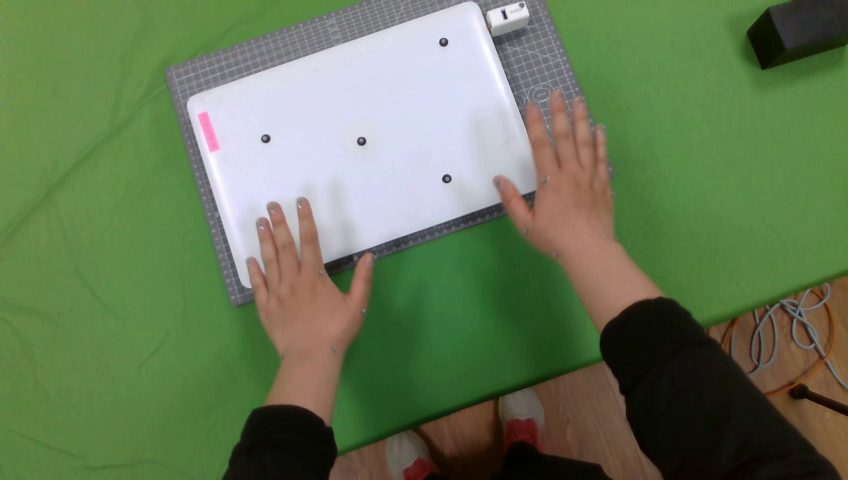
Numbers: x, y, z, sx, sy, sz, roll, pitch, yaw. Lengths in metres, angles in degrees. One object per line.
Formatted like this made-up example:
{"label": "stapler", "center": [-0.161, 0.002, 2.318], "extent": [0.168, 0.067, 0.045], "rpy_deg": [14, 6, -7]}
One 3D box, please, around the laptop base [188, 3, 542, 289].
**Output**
{"label": "laptop base", "center": [-0.070, -0.109, 0.687], "extent": [0.354, 0.023, 0.234], "rpy_deg": [-20, 83, -1]}

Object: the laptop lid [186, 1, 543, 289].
{"label": "laptop lid", "center": [-0.070, -0.109, 0.675], "extent": [0.357, 0.013, 0.241], "rpy_deg": [-18, 82, 0]}

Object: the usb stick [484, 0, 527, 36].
{"label": "usb stick", "center": [0.085, -0.250, 0.690], "extent": [0.059, 0.027, 0.021], "rpy_deg": [-18, 80, 2]}
